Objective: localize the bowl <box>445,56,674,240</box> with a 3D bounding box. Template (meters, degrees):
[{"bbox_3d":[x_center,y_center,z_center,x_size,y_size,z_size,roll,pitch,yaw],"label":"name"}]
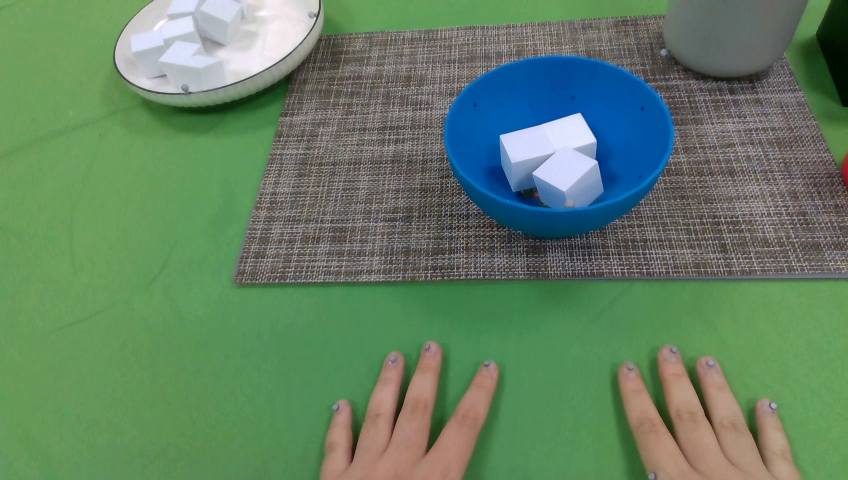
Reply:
[{"bbox_3d":[0.092,-0.053,0.432,0.151,0.077,0.150,-3,53,5],"label":"bowl"}]

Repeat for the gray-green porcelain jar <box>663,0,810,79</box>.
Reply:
[{"bbox_3d":[0.257,-0.206,0.494,0.106,0.128,0.105,-4,53,5],"label":"gray-green porcelain jar"}]

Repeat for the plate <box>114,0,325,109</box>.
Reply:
[{"bbox_3d":[-0.199,-0.199,0.605,0.209,0.038,0.207,-4,53,6],"label":"plate"}]
